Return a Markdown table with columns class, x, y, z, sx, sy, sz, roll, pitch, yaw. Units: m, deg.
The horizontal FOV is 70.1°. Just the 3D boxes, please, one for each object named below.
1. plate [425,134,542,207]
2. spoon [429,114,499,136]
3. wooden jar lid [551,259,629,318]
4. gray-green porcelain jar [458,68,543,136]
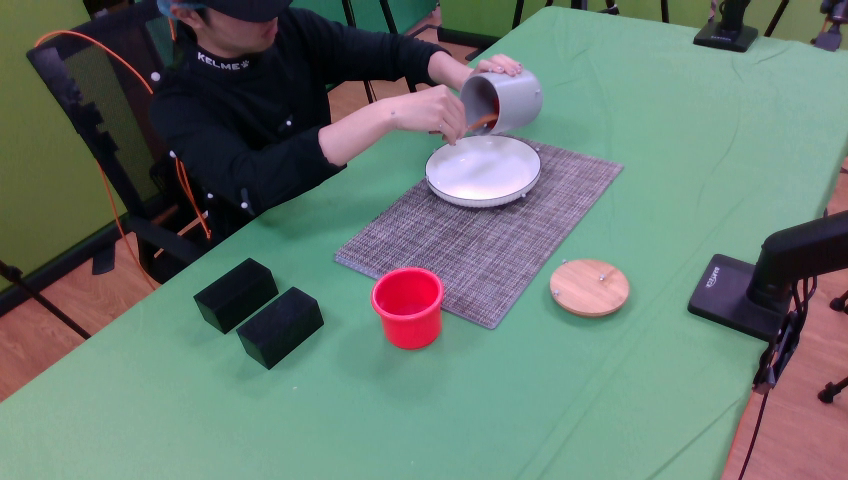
| class | x | y | z | sx | sy | sz | roll | pitch | yaw |
| --- | --- | --- | --- | --- | --- | --- | --- | --- | --- |
| plate | 0.105 | -0.122 | 1.079 | 0.207 | 0.039 | 0.206 | -4 | 41 | 4 |
| spoon | 0.077 | -0.194 | 1.036 | 0.041 | 0.022 | 0.195 | 23 | 34 | 36 |
| wooden jar lid | 0.234 | 0.070 | 0.857 | 0.108 | 0.021 | 0.108 | -5 | 40 | 5 |
| gray-green porcelain jar | 0.142 | -0.249 | 1.081 | 0.127 | 0.106 | 0.105 | -21 | 40 | -37 |
